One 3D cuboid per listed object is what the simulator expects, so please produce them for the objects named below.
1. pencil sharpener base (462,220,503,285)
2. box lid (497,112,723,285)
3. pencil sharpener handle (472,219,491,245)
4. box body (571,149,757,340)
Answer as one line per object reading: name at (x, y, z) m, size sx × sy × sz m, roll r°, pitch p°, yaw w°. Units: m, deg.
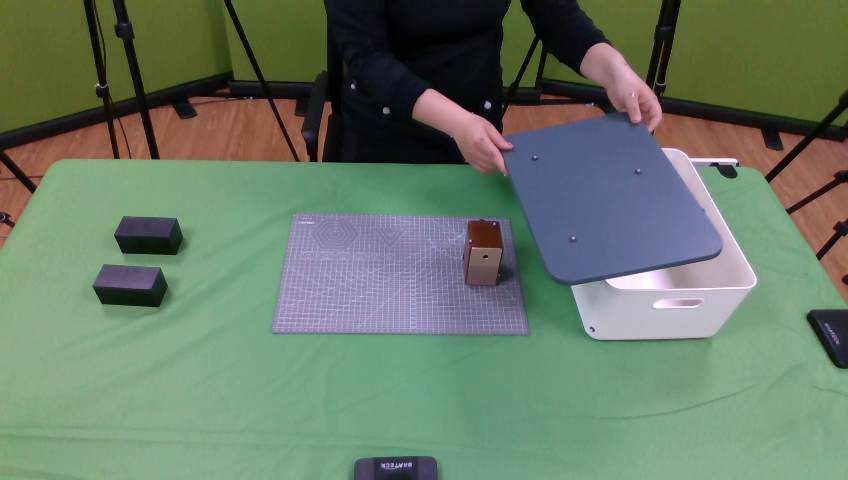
pencil sharpener base at (0.106, 0.023, 1.119) m, size 0.061 × 0.107 × 0.076 m, roll 1°, pitch 45°, yaw -3°
box lid at (0.284, -0.083, 0.990) m, size 0.263 × 0.015 × 0.369 m, roll -11°, pitch 46°, yaw -1°
pencil sharpener handle at (0.103, -0.022, 1.146) m, size 0.036 × 0.068 × 0.030 m, roll 8°, pitch 44°, yaw -9°
box body at (0.395, 0.003, 1.127) m, size 0.254 × 0.161 × 0.361 m, roll -1°, pitch 46°, yaw -5°
